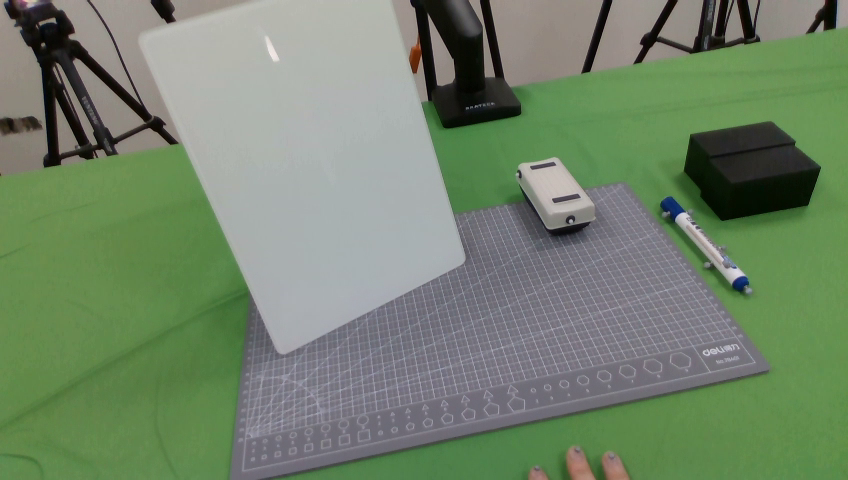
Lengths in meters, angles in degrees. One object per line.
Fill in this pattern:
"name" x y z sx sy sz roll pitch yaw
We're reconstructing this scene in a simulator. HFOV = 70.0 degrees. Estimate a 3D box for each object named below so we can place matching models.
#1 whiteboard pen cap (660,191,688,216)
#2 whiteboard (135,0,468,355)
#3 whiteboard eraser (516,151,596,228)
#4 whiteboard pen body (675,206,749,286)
"whiteboard pen cap" 0.276 -0.039 0.668 0.018 0.018 0.033 -12 39 -5
"whiteboard" -0.116 -0.085 0.608 0.217 0.307 0.142 -26 23 -19
"whiteboard eraser" 0.148 -0.058 0.690 0.055 0.042 0.111 -14 40 -4
"whiteboard pen body" 0.288 -0.003 0.624 0.017 0.017 0.139 -12 39 -5
